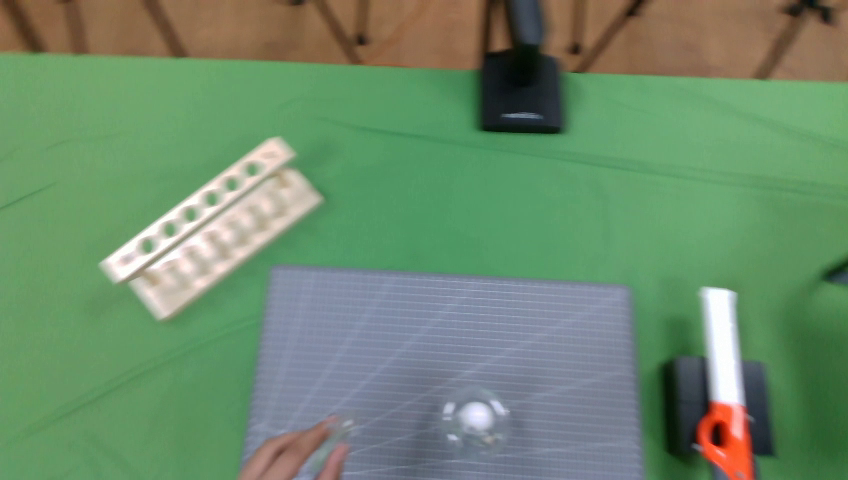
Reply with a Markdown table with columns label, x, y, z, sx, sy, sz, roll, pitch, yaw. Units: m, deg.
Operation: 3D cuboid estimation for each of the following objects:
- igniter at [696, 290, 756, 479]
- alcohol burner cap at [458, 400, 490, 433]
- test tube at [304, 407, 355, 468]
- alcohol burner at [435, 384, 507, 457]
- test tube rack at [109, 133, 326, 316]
| label | x | y | z | sx | sy | sz | roll | pitch | yaw |
| --- | --- | --- | --- | --- | --- | --- | --- | --- | --- |
| igniter | 0.319 | 0.186 | 0.646 | 0.057 | 0.025 | 0.274 | 6 | 68 | 4 |
| alcohol burner cap | 0.052 | 0.177 | 0.609 | 0.034 | 0.048 | 0.033 | 0 | 72 | 1 |
| test tube | -0.086 | 0.179 | 0.539 | 0.017 | 0.151 | 0.017 | 11 | 54 | -16 |
| alcohol burner | 0.052 | 0.189 | 0.643 | 0.078 | 0.120 | 0.077 | 1 | 67 | -2 |
| test tube rack | -0.240 | -0.018 | 0.734 | 0.242 | 0.086 | 0.066 | -39 | 74 | -13 |
